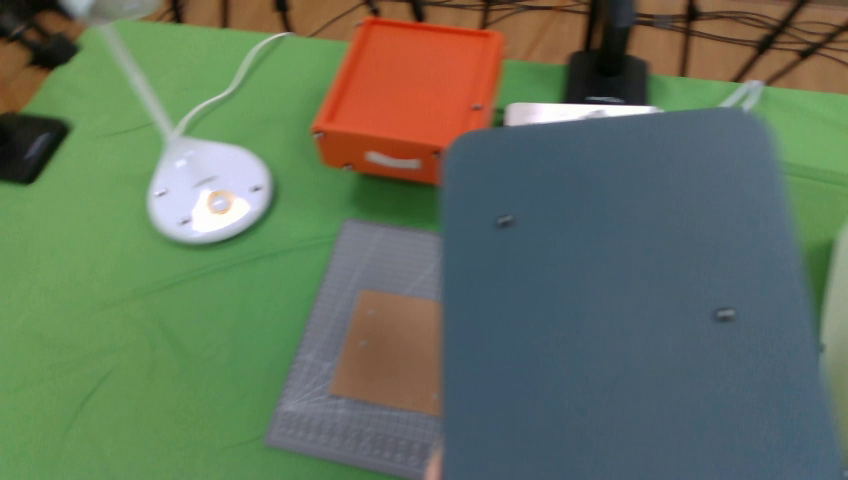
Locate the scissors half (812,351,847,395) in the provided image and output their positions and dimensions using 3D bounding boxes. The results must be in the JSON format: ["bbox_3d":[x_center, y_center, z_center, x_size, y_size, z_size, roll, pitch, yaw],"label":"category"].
[{"bbox_3d":[0.490,0.117,0.650,0.175,0.013,0.039,-22,45,-10],"label":"scissors half"}]

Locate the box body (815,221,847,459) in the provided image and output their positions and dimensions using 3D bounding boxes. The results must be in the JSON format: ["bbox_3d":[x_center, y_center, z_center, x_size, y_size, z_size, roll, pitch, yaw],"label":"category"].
[{"bbox_3d":[0.523,0.115,0.563,0.253,0.162,0.362,22,62,17],"label":"box body"}]

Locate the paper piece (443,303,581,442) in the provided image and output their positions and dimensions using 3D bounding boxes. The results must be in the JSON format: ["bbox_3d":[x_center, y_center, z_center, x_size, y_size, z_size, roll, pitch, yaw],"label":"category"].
[{"bbox_3d":[0.099,0.141,0.663,0.135,0.004,0.135,10,59,10],"label":"paper piece"}]

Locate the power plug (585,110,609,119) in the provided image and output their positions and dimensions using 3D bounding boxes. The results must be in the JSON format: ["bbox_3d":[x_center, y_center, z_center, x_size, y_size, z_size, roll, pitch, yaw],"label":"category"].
[{"bbox_3d":[0.224,-0.139,0.795,0.035,0.053,0.072,14,60,12],"label":"power plug"}]

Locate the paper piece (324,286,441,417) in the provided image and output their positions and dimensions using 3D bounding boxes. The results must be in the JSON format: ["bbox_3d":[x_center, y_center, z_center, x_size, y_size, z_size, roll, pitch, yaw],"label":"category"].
[{"bbox_3d":[-0.030,0.121,0.685,0.135,0.009,0.137,8,60,13],"label":"paper piece"}]

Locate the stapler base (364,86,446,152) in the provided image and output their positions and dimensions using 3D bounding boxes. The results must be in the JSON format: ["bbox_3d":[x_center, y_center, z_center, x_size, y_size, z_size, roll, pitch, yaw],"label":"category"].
[{"bbox_3d":[-0.028,-0.163,0.793,0.129,0.024,0.041,39,84,27],"label":"stapler base"}]

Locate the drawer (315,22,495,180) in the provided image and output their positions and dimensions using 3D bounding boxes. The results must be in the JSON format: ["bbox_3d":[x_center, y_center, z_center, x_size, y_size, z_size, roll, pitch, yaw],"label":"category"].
[{"bbox_3d":[-0.010,-0.181,0.782,0.194,0.074,0.210,10,58,11],"label":"drawer"}]

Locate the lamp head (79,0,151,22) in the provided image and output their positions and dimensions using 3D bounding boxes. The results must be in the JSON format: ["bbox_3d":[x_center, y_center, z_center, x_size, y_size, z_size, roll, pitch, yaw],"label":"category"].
[{"bbox_3d":[-0.269,-0.261,0.499,0.123,0.112,0.112,49,67,-13],"label":"lamp head"}]

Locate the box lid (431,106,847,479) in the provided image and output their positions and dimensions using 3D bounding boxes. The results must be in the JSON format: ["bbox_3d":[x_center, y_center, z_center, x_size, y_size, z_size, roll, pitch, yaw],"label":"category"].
[{"bbox_3d":[0.140,0.075,0.435,0.263,0.015,0.368,-5,69,6],"label":"box lid"}]

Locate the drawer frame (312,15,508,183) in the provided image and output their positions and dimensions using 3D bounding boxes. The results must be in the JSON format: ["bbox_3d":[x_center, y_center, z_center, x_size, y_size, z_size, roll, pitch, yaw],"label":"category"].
[{"bbox_3d":[-0.011,-0.183,0.784,0.201,0.083,0.212,10,58,11],"label":"drawer frame"}]

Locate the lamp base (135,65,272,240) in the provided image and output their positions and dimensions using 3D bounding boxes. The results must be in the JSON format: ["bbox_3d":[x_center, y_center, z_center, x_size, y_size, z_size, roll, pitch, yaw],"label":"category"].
[{"bbox_3d":[-0.298,-0.117,0.753,0.160,0.182,0.177,-39,60,-20],"label":"lamp base"}]

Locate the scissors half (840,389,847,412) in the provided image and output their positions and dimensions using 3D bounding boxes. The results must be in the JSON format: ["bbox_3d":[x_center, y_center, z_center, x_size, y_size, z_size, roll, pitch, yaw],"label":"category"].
[{"bbox_3d":[0.499,0.129,0.637,0.175,0.013,0.040,-35,54,-20],"label":"scissors half"}]

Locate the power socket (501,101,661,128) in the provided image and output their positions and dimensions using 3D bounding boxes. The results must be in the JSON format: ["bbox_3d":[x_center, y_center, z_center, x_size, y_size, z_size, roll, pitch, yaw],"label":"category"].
[{"bbox_3d":[0.220,-0.152,0.830,0.226,0.033,0.071,5,59,6],"label":"power socket"}]

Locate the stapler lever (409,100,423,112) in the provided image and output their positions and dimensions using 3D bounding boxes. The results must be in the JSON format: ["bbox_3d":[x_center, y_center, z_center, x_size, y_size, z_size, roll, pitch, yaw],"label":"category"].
[{"bbox_3d":[-0.038,-0.173,0.770,0.117,0.040,0.027,38,84,29],"label":"stapler lever"}]
